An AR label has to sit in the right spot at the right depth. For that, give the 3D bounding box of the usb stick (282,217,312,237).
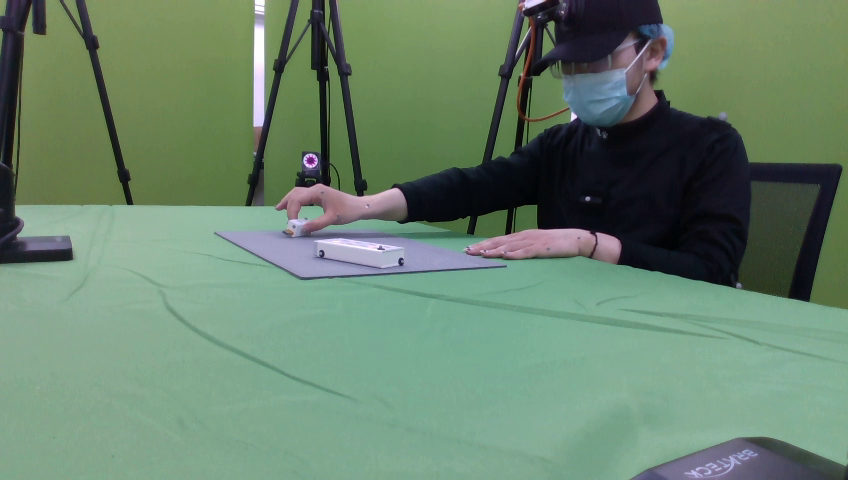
[{"bbox_3d":[-0.221,-0.022,1.047,0.021,0.027,0.059,28,23,21],"label":"usb stick"}]

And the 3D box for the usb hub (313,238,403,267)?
[{"bbox_3d":[-0.091,0.016,0.818,0.124,0.025,0.050,7,9,36],"label":"usb hub"}]
